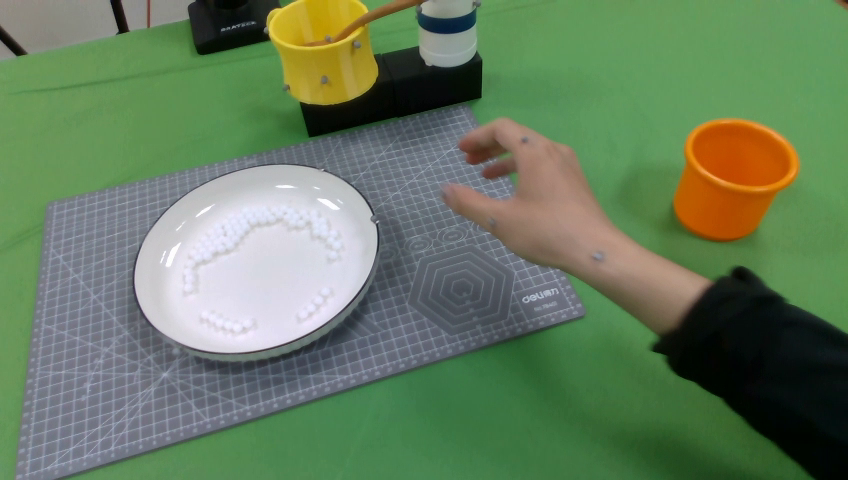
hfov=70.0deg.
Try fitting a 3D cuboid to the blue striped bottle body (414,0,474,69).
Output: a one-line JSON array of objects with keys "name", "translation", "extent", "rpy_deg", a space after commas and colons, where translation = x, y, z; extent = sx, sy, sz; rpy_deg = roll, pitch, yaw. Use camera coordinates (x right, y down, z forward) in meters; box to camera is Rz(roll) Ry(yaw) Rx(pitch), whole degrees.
[{"name": "blue striped bottle body", "translation": [0.020, -0.243, 0.619], "extent": [0.063, 0.122, 0.062], "rpy_deg": [-2, 51, 3]}]

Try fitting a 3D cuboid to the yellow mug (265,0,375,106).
[{"name": "yellow mug", "translation": [-0.116, -0.200, 0.629], "extent": [0.130, 0.064, 0.099], "rpy_deg": [25, 56, 24]}]

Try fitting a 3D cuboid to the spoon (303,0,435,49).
[{"name": "spoon", "translation": [-0.062, -0.205, 0.587], "extent": [0.193, 0.022, 0.041], "rpy_deg": [-13, 38, 37]}]

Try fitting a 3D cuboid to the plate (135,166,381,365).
[{"name": "plate", "translation": [-0.139, 0.020, 0.529], "extent": [0.207, 0.039, 0.205], "rpy_deg": [-2, 50, 2]}]
